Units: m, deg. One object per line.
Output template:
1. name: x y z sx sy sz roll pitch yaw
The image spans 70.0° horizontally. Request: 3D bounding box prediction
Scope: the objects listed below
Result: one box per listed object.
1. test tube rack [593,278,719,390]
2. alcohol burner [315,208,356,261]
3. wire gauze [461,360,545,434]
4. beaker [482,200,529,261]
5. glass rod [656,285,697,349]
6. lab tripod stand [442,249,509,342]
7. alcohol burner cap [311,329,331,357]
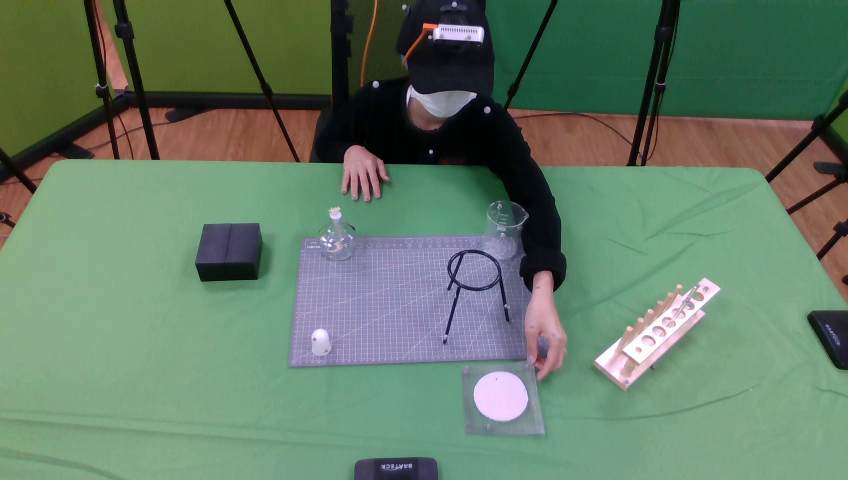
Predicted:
1. test tube rack: 0.401 0.148 1.043 0.242 0.085 0.066 -30 55 -29
2. alcohol burner: -0.166 -0.017 1.135 0.078 0.120 0.077 2 48 -2
3. wire gauze: 0.123 0.251 0.969 0.125 0.011 0.120 -3 51 3
4. beaker: 0.153 -0.015 1.169 0.084 0.101 0.073 -2 46 -7
5. glass rod: 0.401 0.128 0.971 0.008 0.201 0.008 0 53 1
6. lab tripod stand: 0.082 0.091 1.036 0.148 0.132 0.147 3 44 -3
7. alcohol burner cap: -0.173 0.168 1.005 0.034 0.048 0.033 2 46 -2
